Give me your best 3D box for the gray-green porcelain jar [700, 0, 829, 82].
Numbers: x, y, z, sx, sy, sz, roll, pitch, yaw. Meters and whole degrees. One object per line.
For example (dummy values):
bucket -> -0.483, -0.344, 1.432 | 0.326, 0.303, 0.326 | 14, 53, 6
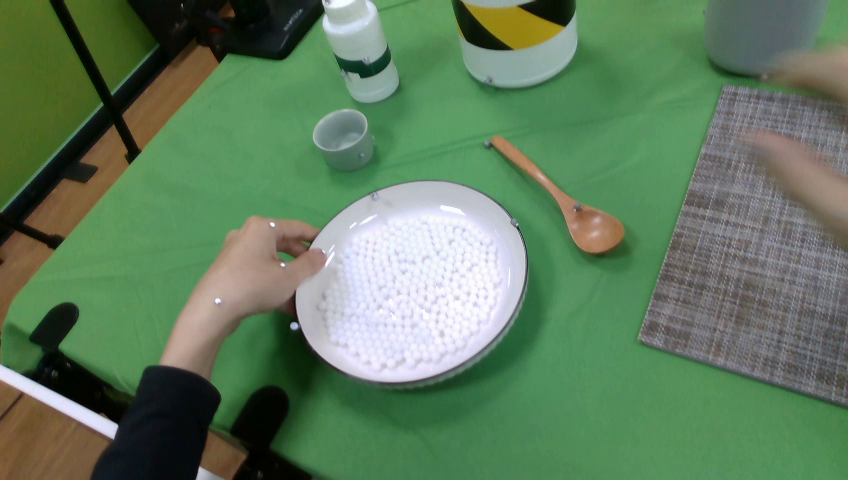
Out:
gray-green porcelain jar -> 0.328, -0.227, 0.584 | 0.106, 0.128, 0.105 | -7, 53, 10

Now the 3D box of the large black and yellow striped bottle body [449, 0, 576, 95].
large black and yellow striped bottle body -> 0.091, -0.262, 0.638 | 0.130, 0.186, 0.129 | -8, 53, 11

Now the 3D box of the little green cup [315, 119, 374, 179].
little green cup -> -0.084, -0.098, 0.659 | 0.061, 0.039, 0.061 | -8, 51, 10

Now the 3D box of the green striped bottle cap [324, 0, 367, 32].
green striped bottle cap -> -0.084, -0.242, 0.647 | 0.044, 0.020, 0.044 | -6, 56, 9

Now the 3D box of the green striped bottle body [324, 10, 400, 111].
green striped bottle body -> -0.072, -0.211, 0.687 | 0.063, 0.120, 0.062 | -8, 52, 11

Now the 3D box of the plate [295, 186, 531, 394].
plate -> -0.009, 0.042, 0.535 | 0.209, 0.038, 0.207 | -8, 52, 10

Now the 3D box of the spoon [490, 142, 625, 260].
spoon -> 0.118, -0.046, 0.574 | 0.041, 0.022, 0.191 | -40, 54, 3
